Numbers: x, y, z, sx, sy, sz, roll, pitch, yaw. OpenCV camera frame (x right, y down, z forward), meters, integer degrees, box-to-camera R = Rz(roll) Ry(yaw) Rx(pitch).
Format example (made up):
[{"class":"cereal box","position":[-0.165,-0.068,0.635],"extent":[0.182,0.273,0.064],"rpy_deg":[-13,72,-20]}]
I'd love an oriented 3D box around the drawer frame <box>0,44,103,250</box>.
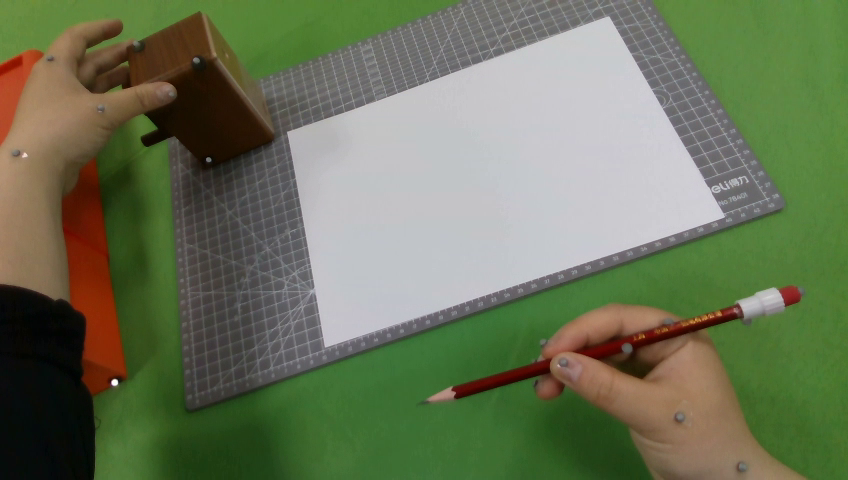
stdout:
[{"class":"drawer frame","position":[-0.405,-0.041,0.540],"extent":[0.201,0.083,0.211],"rpy_deg":[-26,60,1]}]

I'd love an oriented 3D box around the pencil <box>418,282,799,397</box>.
[{"class":"pencil","position":[0.089,0.053,0.305],"extent":[0.194,0.012,0.012],"rpy_deg":[-17,61,6]}]

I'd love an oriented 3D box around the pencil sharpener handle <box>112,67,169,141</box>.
[{"class":"pencil sharpener handle","position":[-0.239,-0.108,0.500],"extent":[0.030,0.068,0.035],"rpy_deg":[-24,58,2]}]

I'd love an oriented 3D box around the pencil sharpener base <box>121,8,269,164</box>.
[{"class":"pencil sharpener base","position":[-0.190,-0.124,0.510],"extent":[0.077,0.108,0.061],"rpy_deg":[-24,61,2]}]

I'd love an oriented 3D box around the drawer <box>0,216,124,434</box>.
[{"class":"drawer","position":[-0.360,0.052,0.486],"extent":[0.194,0.074,0.209],"rpy_deg":[-27,60,1]}]
